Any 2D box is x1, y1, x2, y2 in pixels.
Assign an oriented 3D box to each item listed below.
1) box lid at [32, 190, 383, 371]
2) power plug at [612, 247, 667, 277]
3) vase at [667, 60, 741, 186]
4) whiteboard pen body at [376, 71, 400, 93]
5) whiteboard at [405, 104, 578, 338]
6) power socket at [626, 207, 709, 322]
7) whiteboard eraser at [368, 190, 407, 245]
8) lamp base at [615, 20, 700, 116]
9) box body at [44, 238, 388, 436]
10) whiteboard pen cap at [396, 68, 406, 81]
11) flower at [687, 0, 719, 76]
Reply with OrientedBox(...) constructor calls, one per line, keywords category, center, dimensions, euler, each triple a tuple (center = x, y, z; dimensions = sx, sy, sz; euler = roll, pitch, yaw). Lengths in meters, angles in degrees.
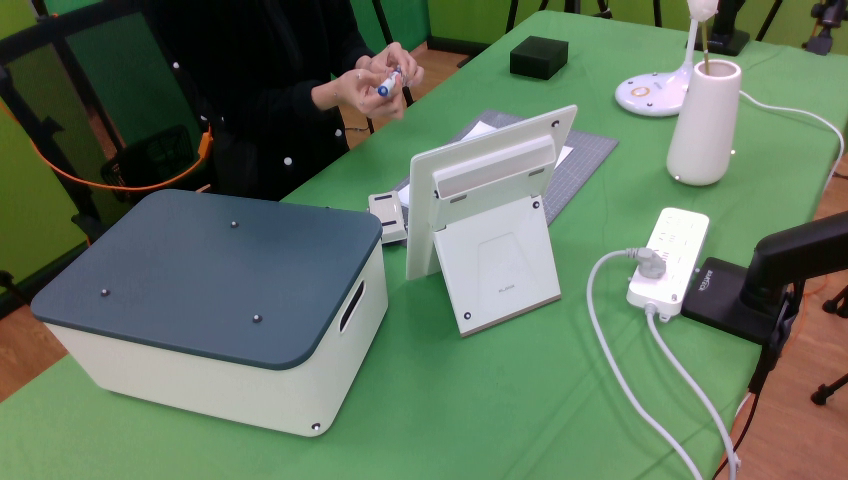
OrientedBox(category="box lid", center=(-0.257, 0.032, 0.750), dimensions=(0.370, 0.015, 0.263), euler=(7, 41, 16))
OrientedBox(category="power plug", center=(0.306, 0.031, 0.852), dimensions=(0.072, 0.053, 0.035), euler=(21, 48, 37))
OrientedBox(category="vase", center=(0.463, -0.189, 0.994), dimensions=(0.098, 0.201, 0.097), euler=(-4, 40, 4))
OrientedBox(category="whiteboard pen body", center=(-0.052, -0.242, 0.918), dimensions=(0.017, 0.017, 0.140), euler=(0, 24, 9))
OrientedBox(category="whiteboard", center=(0.102, 0.002, 0.787), dimensions=(0.218, 0.306, 0.143), euler=(-19, 62, -14))
OrientedBox(category="power socket", center=(0.360, 0.026, 0.886), dimensions=(0.072, 0.033, 0.227), euler=(17, 46, 27))
OrientedBox(category="whiteboard eraser", center=(-0.061, -0.035, 1.006), dimensions=(0.056, 0.042, 0.112), euler=(-9, 40, -4))
OrientedBox(category="lamp base", center=(0.484, -0.364, 1.211), dimensions=(0.180, 0.181, 0.159), euler=(-15, 41, -14))
OrientedBox(category="box body", center=(-0.251, 0.088, 0.799), dimensions=(0.362, 0.161, 0.254), euler=(7, 42, 16))
OrientedBox(category="whiteboard pen cap", center=(-0.041, -0.265, 0.972), dimensions=(0.018, 0.018, 0.033), euler=(4, 24, 13))
OrientedBox(category="flower", center=(0.436, -0.242, 0.934), dimensions=(0.038, 0.364, 0.043), euler=(-24, 49, 8))
